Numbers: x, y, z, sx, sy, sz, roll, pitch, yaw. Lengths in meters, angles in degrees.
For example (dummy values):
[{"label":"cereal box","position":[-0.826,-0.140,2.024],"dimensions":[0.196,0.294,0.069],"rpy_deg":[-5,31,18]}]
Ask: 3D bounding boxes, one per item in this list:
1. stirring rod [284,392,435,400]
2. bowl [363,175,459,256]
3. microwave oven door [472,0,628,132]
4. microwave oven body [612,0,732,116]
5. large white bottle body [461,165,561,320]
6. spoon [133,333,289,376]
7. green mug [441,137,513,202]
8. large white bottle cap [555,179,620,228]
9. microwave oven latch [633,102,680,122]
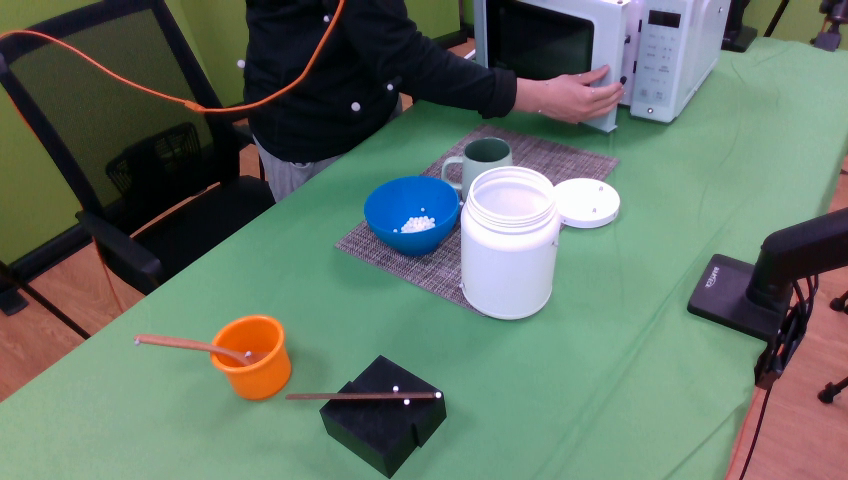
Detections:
[{"label":"stirring rod","position":[-0.075,0.180,0.698],"dimensions":[0.176,0.006,0.014],"rpy_deg":[-2,6,7]},{"label":"bowl","position":[-0.017,-0.028,0.955],"dimensions":[0.151,0.077,0.150],"rpy_deg":[-4,40,4]},{"label":"microwave oven door","position":[0.232,-0.376,1.180],"dimensions":[0.039,0.245,0.352],"rpy_deg":[-34,47,-27]},{"label":"microwave oven body","position":[0.377,-0.463,1.267],"dimensions":[0.438,0.261,0.327],"rpy_deg":[21,49,30]},{"label":"large white bottle body","position":[0.115,0.004,0.816],"dimensions":[0.130,0.185,0.130],"rpy_deg":[-2,43,2]},{"label":"spoon","position":[-0.257,0.137,0.747],"dimensions":[0.021,0.195,0.041],"rpy_deg":[-47,40,23]},{"label":"green mug","position":[0.091,-0.107,1.012],"dimensions":[0.125,0.105,0.092],"rpy_deg":[2,42,11]},{"label":"large white bottle cap","position":[0.265,-0.062,1.001],"dimensions":[0.115,0.018,0.114],"rpy_deg":[-3,41,3]},{"label":"microwave oven latch","position":[0.444,-0.249,1.158],"dimensions":[0.078,0.029,0.030],"rpy_deg":[22,49,30]}]
